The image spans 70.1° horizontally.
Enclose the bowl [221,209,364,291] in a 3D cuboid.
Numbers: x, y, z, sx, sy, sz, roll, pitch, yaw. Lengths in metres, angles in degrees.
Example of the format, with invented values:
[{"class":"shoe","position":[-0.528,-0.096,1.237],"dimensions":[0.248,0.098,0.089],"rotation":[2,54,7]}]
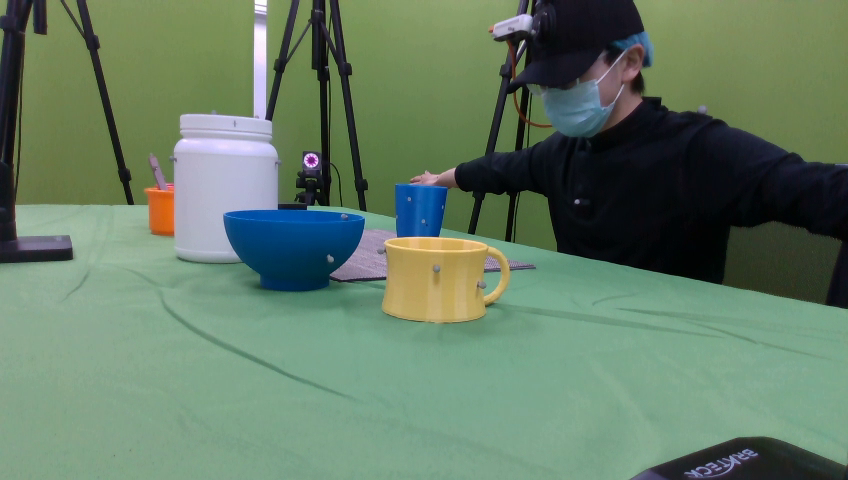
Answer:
[{"class":"bowl","position":[-0.142,0.011,0.660],"dimensions":[0.151,0.077,0.151],"rotation":[2,7,0]}]

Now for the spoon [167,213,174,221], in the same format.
[{"class":"spoon","position":[-0.447,-0.104,1.192],"dimensions":[0.041,0.022,0.193],"rotation":[7,52,14]}]

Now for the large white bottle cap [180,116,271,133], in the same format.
[{"class":"large white bottle cap","position":[-0.262,-0.152,0.803],"dimensions":[0.115,0.018,0.115],"rotation":[2,7,0]}]

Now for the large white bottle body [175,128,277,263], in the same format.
[{"class":"large white bottle body","position":[-0.265,-0.068,0.814],"dimensions":[0.131,0.184,0.130],"rotation":[2,7,0]}]

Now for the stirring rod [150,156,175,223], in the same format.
[{"class":"stirring rod","position":[-0.446,-0.083,1.048],"dimensions":[0.014,0.006,0.175],"rotation":[0,49,-47]}]

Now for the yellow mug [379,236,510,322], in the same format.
[{"class":"yellow mug","position":[0.024,0.034,0.575],"dimensions":[0.131,0.064,0.099],"rotation":[1,7,-22]}]

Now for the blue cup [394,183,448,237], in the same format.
[{"class":"blue cup","position":[-0.009,-0.037,0.954],"dimensions":[0.093,0.100,0.092],"rotation":[4,7,0]}]
